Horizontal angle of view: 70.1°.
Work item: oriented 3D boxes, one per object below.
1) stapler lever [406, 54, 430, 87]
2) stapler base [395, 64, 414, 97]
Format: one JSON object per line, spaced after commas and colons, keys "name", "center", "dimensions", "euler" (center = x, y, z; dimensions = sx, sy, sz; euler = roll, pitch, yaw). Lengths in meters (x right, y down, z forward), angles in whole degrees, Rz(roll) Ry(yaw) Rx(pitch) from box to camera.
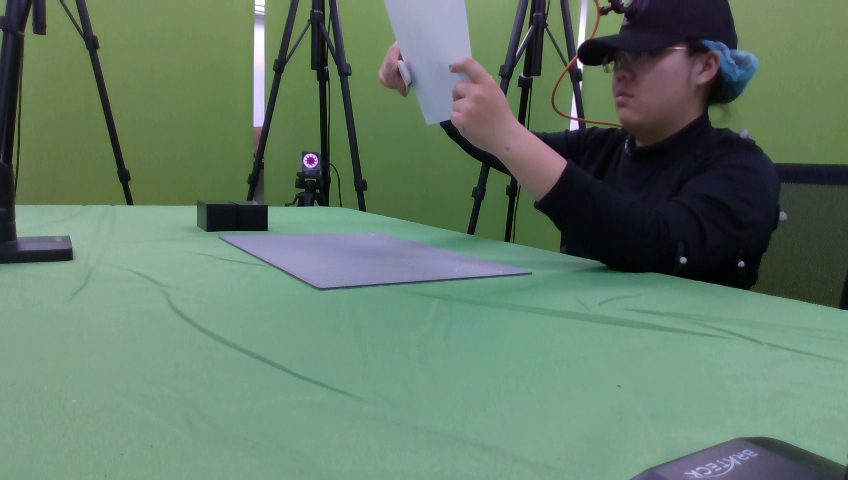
{"name": "stapler lever", "center": [-0.011, -0.291, 1.042], "dimensions": [0.040, 0.027, 0.118], "euler": [-32, 5, 1]}
{"name": "stapler base", "center": [-0.030, -0.278, 1.040], "dimensions": [0.024, 0.041, 0.130], "euler": [-32, 5, -1]}
